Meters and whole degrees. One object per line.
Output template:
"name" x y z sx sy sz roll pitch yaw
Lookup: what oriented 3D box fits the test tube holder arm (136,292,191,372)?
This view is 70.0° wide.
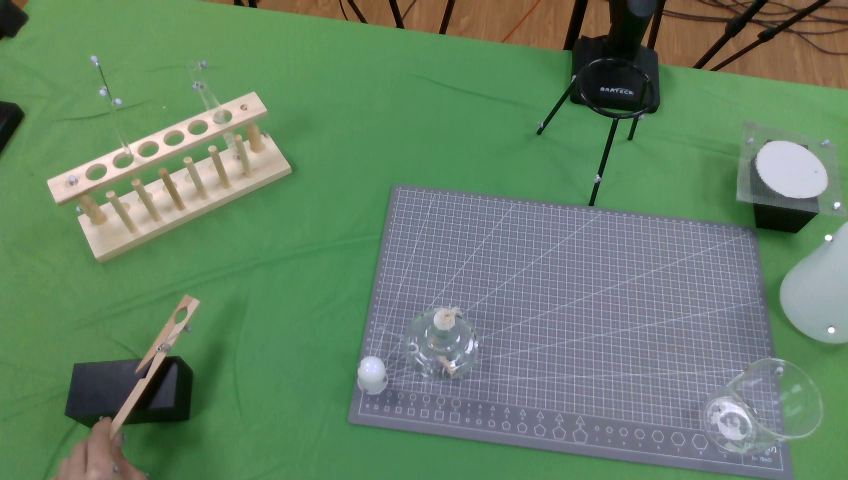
"test tube holder arm" -0.255 0.090 0.595 0.010 0.015 0.087 27 59 -10

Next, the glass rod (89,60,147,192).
"glass rod" -0.321 -0.108 0.645 0.008 0.201 0.008 4 53 -5

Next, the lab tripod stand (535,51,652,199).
"lab tripod stand" 0.212 -0.145 0.735 0.148 0.132 0.147 2 62 -3

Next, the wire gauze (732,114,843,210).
"wire gauze" 0.436 -0.094 0.730 0.121 0.011 0.124 14 61 6

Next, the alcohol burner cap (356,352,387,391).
"alcohol burner cap" -0.055 0.133 0.620 0.034 0.048 0.033 0 61 0

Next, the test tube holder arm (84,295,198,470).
"test tube holder arm" -0.264 0.129 0.573 0.013 0.015 0.177 27 59 -10

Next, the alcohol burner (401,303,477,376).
"alcohol burner" 0.017 0.093 0.604 0.078 0.120 0.077 2 60 -3

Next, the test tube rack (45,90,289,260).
"test tube rack" -0.288 -0.077 0.704 0.242 0.086 0.066 -29 66 -17

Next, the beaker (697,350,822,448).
"beaker" 0.315 0.158 0.587 0.084 0.101 0.073 12 61 6

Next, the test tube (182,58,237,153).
"test tube" -0.239 -0.147 0.689 0.017 0.151 0.017 -1 62 2

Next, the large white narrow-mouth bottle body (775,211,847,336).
"large white narrow-mouth bottle body" 0.454 0.020 0.617 0.102 0.196 0.101 1 60 -1
